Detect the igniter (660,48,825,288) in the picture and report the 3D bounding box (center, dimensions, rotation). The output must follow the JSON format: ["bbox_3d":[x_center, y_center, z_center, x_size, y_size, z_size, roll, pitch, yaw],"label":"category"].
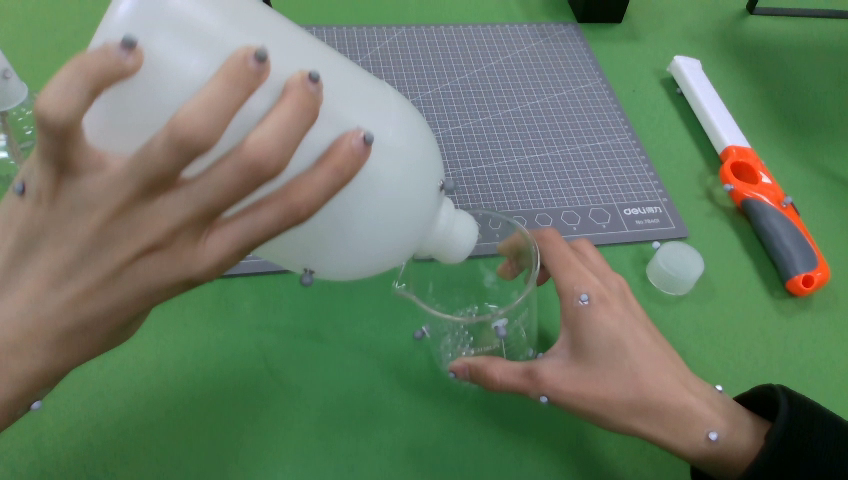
[{"bbox_3d":[0.269,-0.075,0.526,0.057,0.025,0.273,4,52,-17],"label":"igniter"}]

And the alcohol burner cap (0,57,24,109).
[{"bbox_3d":[-0.287,-0.110,0.391,0.034,0.048,0.033,2,59,-4],"label":"alcohol burner cap"}]

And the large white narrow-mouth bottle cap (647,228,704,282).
[{"bbox_3d":[0.189,0.012,0.456,0.038,0.024,0.037,3,52,-3],"label":"large white narrow-mouth bottle cap"}]

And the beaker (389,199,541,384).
[{"bbox_3d":[0.028,0.037,0.363,0.084,0.101,0.073,-17,53,-1],"label":"beaker"}]

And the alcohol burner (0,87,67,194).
[{"bbox_3d":[-0.290,-0.090,0.420,0.078,0.120,0.077,4,51,-5],"label":"alcohol burner"}]

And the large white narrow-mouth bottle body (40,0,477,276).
[{"bbox_3d":[-0.055,-0.038,0.284,0.196,0.102,0.101,26,45,-31],"label":"large white narrow-mouth bottle body"}]

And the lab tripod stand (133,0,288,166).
[{"bbox_3d":[-0.162,-0.151,0.465,0.148,0.132,0.147,4,53,-5],"label":"lab tripod stand"}]
